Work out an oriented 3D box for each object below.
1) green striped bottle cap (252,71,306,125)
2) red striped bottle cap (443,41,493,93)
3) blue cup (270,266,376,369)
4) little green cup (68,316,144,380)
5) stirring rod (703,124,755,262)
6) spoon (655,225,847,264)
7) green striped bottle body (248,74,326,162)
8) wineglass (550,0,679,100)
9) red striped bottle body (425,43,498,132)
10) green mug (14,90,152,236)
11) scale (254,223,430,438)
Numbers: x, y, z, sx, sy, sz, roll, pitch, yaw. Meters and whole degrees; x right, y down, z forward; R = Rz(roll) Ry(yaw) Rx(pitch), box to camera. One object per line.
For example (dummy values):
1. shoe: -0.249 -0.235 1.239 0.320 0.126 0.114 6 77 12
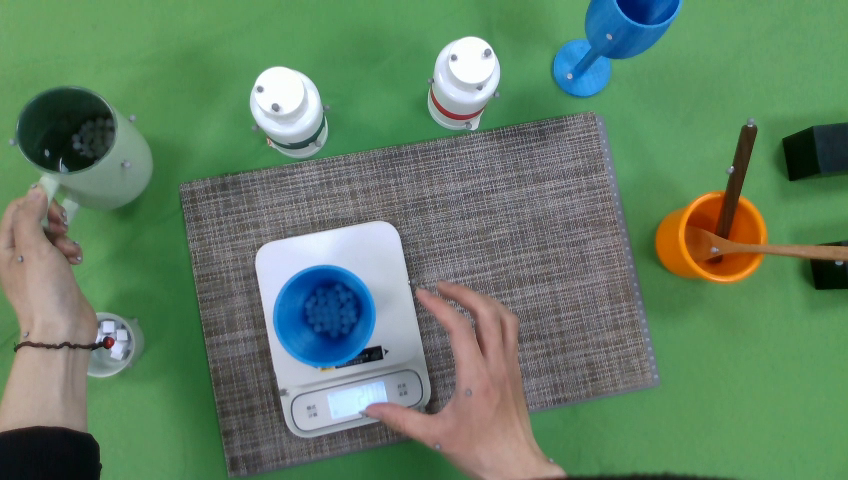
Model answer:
1. green striped bottle cap: -0.126 -0.124 0.528 0.044 0.020 0.044 0 85 -4
2. red striped bottle cap: 0.040 -0.157 0.547 0.044 0.018 0.044 1 82 -4
3. blue cup: -0.086 0.067 0.549 0.093 0.100 0.092 0 87 -5
4. little green cup: -0.306 0.104 0.592 0.061 0.038 0.061 1 85 -6
5. stirring rod: 0.300 -0.039 0.600 0.014 0.178 0.005 -3 45 8
6. spoon: 0.328 0.009 0.599 0.022 0.192 0.041 1 93 -48
7. green striped bottle body: -0.131 -0.118 0.584 0.063 0.119 0.063 0 85 -5
8. wineglass: 0.177 -0.196 0.589 0.074 0.172 0.073 0 85 -4
9. red striped bottle body: 0.036 -0.152 0.601 0.063 0.119 0.063 0 85 -5
10. green mug: -0.310 -0.062 0.543 0.093 0.105 0.125 23 76 -6
11. scale: -0.082 0.090 0.612 0.149 0.031 0.200 -12 87 -5
